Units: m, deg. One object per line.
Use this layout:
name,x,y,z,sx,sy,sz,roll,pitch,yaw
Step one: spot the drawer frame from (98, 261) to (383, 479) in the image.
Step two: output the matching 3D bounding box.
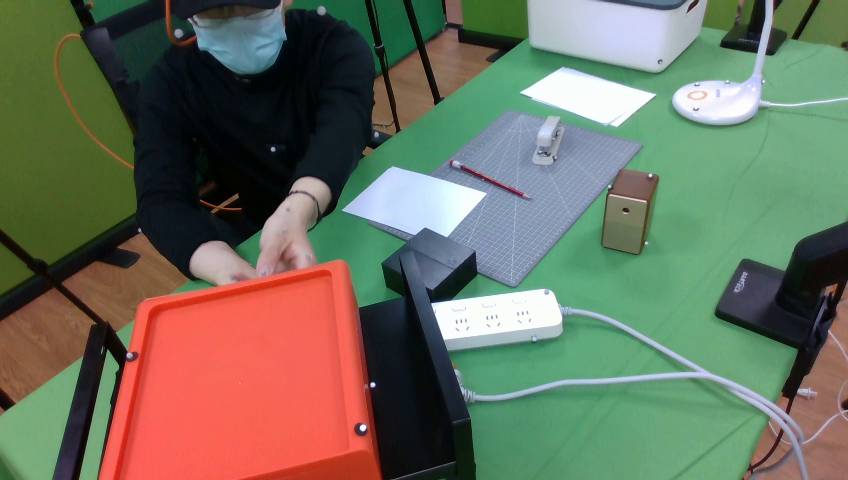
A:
drawer frame,-0.148,0.129,0.520,0.202,0.083,0.212,-12,41,-6

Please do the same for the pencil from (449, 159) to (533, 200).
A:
pencil,0.118,-0.110,1.091,0.192,0.012,0.012,30,53,34

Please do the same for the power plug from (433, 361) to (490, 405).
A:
power plug,0.044,0.182,0.759,0.073,0.035,0.052,26,40,-19

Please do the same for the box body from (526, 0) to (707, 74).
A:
box body,0.450,-0.540,1.430,0.361,0.161,0.255,24,50,31

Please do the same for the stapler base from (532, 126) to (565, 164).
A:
stapler base,0.239,-0.189,1.155,0.041,0.024,0.130,10,42,18

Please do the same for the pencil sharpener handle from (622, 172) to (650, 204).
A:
pencil sharpener handle,0.328,-0.086,0.941,0.036,0.068,0.030,29,49,8

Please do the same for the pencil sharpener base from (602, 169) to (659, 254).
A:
pencil sharpener base,0.312,-0.044,0.914,0.061,0.107,0.077,14,45,24

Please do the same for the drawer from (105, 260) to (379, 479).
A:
drawer,-0.150,0.127,0.525,0.195,0.073,0.210,-11,41,-5

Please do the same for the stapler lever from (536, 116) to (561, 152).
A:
stapler lever,0.236,-0.209,1.141,0.026,0.040,0.118,10,43,18

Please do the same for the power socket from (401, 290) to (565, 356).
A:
power socket,0.080,0.112,0.822,0.227,0.033,0.072,-7,41,0

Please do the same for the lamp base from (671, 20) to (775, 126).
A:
lamp base,0.582,-0.332,1.153,0.179,0.181,0.160,2,42,7

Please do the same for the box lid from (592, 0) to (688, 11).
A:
box lid,0.441,-0.596,1.383,0.368,0.015,0.264,24,49,31

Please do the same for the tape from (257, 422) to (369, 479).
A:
tape,-0.120,0.262,0.660,0.117,0.053,0.116,-4,40,4
